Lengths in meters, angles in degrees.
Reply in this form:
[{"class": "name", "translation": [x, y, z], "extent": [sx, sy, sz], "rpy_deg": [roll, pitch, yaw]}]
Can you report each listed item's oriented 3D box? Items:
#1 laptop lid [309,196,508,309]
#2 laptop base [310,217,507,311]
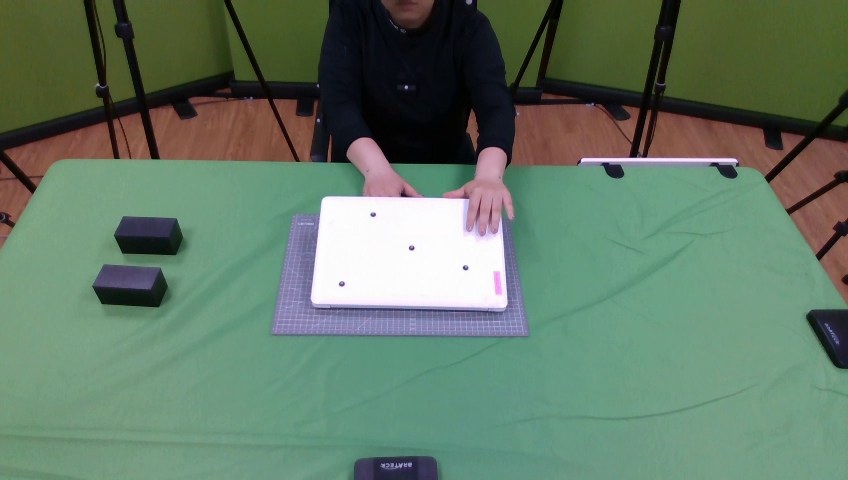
[{"class": "laptop lid", "translation": [-0.026, 0.018, 1.124], "extent": [0.357, 0.013, 0.240], "rpy_deg": [3, 59, -2]}, {"class": "laptop base", "translation": [-0.028, 0.044, 1.154], "extent": [0.354, 0.023, 0.234], "rpy_deg": [1, 42, -3]}]
